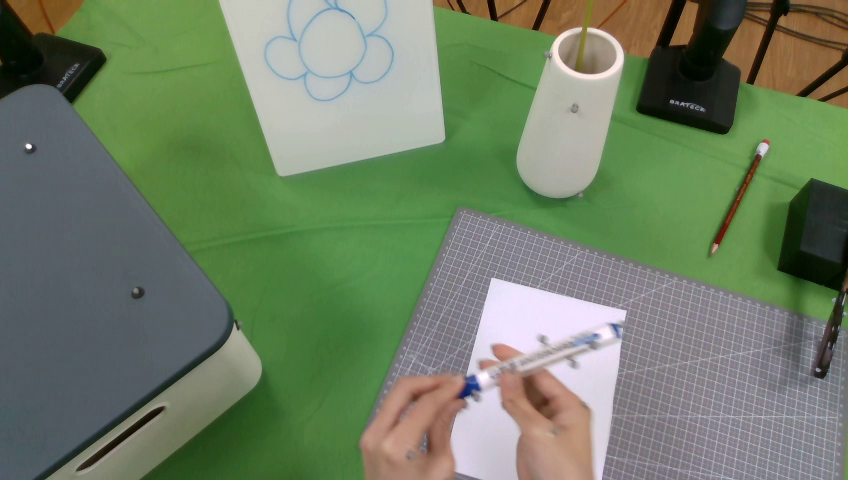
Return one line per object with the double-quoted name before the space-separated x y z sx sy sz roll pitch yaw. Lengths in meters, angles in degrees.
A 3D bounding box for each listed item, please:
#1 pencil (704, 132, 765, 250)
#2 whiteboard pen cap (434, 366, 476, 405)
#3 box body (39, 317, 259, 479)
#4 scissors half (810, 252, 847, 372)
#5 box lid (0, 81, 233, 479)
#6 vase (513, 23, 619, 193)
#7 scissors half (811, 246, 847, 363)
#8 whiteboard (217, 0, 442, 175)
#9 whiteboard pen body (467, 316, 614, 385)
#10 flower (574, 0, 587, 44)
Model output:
"pencil" 0.374 -0.061 0.730 0.012 0.012 0.193 30 68 16
"whiteboard pen cap" 0.025 0.112 0.466 0.033 0.018 0.018 -34 64 8
"box body" -0.364 0.059 0.588 0.254 0.161 0.361 -39 69 -18
"scissors half" 0.430 0.054 0.631 0.012 0.040 0.175 16 82 36
"box lid" -0.366 0.023 0.523 0.263 0.015 0.368 -39 69 -18
"vase" 0.154 -0.138 0.666 0.098 0.201 0.097 -1 61 1
"scissors half" 0.421 0.046 0.614 0.012 0.040 0.174 17 64 31
"whiteboard" -0.111 -0.261 0.707 0.217 0.308 0.142 -13 44 -5
"whiteboard pen body" 0.079 0.089 0.465 0.141 0.017 0.017 -21 63 -1
"flower" 0.151 -0.190 0.600 0.044 0.365 0.038 12 46 11
